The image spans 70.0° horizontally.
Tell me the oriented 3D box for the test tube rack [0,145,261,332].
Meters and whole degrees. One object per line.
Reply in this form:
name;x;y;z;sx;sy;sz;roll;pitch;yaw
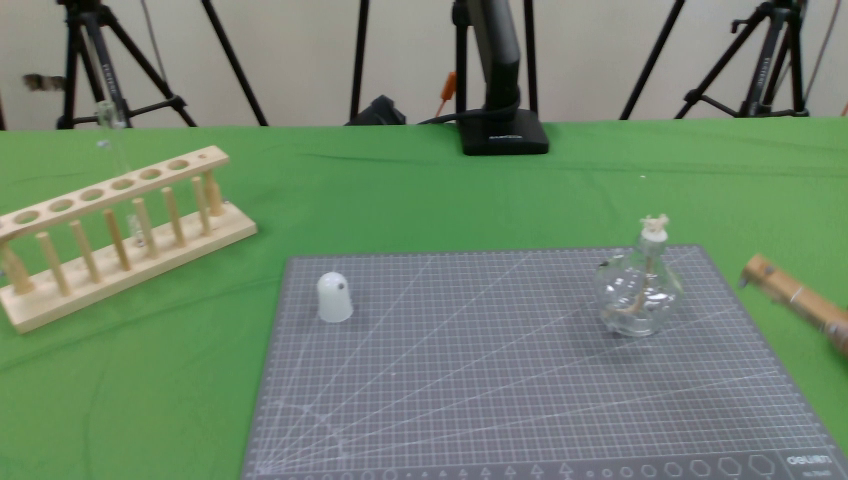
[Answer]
test tube rack;-0.295;-0.010;0.613;0.242;0.086;0.066;-27;45;-32

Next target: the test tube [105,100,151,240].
test tube;-0.293;-0.065;0.604;0.017;0.151;0.017;2;32;-1

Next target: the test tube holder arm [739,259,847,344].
test tube holder arm;0.250;0.043;0.398;0.015;0.010;0.087;-46;60;-4

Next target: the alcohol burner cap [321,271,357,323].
alcohol burner cap;-0.081;0.050;0.566;0.034;0.048;0.033;0;37;0

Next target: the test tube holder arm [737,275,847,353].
test tube holder arm;0.281;0.072;0.381;0.015;0.013;0.176;-46;62;-4

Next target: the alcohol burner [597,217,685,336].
alcohol burner;0.196;0.027;0.539;0.078;0.120;0.077;1;39;0
